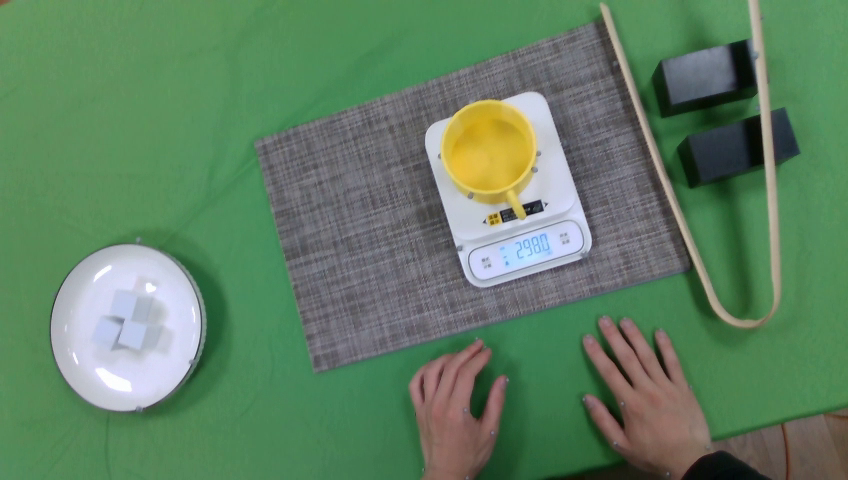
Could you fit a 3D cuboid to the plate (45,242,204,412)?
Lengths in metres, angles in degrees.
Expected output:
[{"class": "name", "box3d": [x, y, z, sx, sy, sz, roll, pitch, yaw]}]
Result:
[{"class": "plate", "box3d": [-0.367, 0.107, 0.755, 0.207, 0.039, 0.207, -1, 86, 9]}]

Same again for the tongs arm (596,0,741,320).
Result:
[{"class": "tongs arm", "box3d": [0.261, -0.095, 0.665, 0.028, 0.028, 0.386, -23, 82, 32]}]

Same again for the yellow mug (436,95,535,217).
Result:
[{"class": "yellow mug", "box3d": [0.074, -0.083, 0.646, 0.100, 0.064, 0.130, -28, 83, 6]}]

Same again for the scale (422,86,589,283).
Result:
[{"class": "scale", "box3d": [0.091, -0.063, 0.689, 0.148, 0.031, 0.200, -18, 84, 8]}]

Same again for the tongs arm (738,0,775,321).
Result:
[{"class": "tongs arm", "box3d": [0.324, -0.110, 0.615, 0.050, 0.026, 0.384, -7, 91, 36]}]
